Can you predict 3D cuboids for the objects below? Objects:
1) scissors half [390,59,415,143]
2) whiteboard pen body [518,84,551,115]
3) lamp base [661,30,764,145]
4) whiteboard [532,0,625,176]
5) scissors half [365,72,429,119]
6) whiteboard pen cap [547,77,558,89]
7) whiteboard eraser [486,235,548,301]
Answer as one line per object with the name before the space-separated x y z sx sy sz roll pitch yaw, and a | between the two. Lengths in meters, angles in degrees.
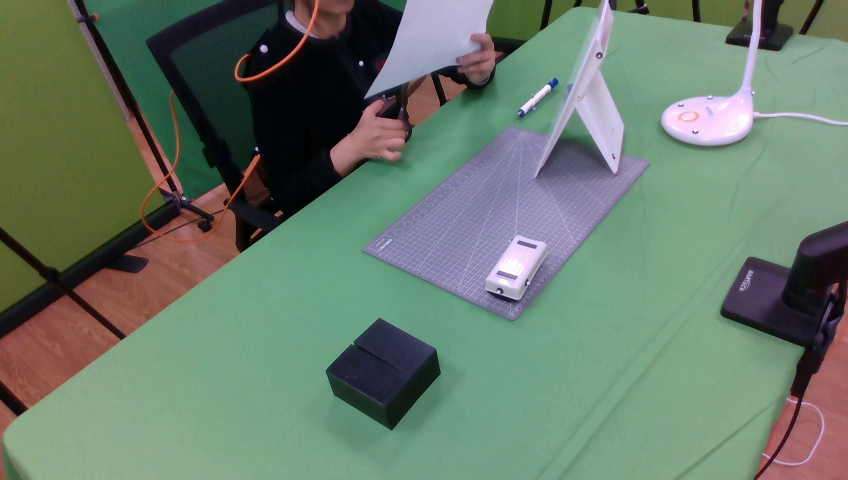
scissors half | -0.035 -0.258 1.139 0.040 0.175 0.013 25 40 15
whiteboard pen body | 0.242 -0.306 1.290 0.017 0.017 0.141 24 52 33
lamp base | 0.535 -0.287 1.096 0.179 0.181 0.159 -10 40 -4
whiteboard | 0.320 -0.259 1.050 0.144 0.306 0.217 21 45 5
scissors half | -0.053 -0.276 1.140 0.174 0.040 0.013 -18 16 41
whiteboard pen cap | 0.279 -0.341 1.321 0.018 0.018 0.033 22 51 31
whiteboard eraser | 0.137 0.042 0.887 0.055 0.042 0.113 15 45 27
